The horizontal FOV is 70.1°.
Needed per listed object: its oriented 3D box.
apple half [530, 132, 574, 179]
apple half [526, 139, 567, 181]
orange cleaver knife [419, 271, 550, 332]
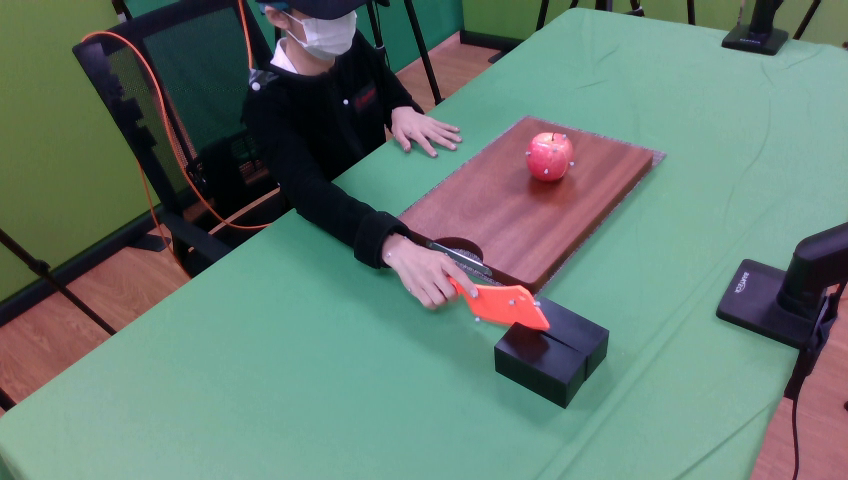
[{"bbox_3d":[0.222,-0.147,1.031,0.080,0.075,0.053,20,44,35],"label":"apple half"},{"bbox_3d":[0.198,-0.126,1.009,0.080,0.081,0.033,24,46,32],"label":"apple half"},{"bbox_3d":[0.075,0.080,0.803,0.209,0.077,0.012,9,41,47],"label":"orange cleaver knife"}]
